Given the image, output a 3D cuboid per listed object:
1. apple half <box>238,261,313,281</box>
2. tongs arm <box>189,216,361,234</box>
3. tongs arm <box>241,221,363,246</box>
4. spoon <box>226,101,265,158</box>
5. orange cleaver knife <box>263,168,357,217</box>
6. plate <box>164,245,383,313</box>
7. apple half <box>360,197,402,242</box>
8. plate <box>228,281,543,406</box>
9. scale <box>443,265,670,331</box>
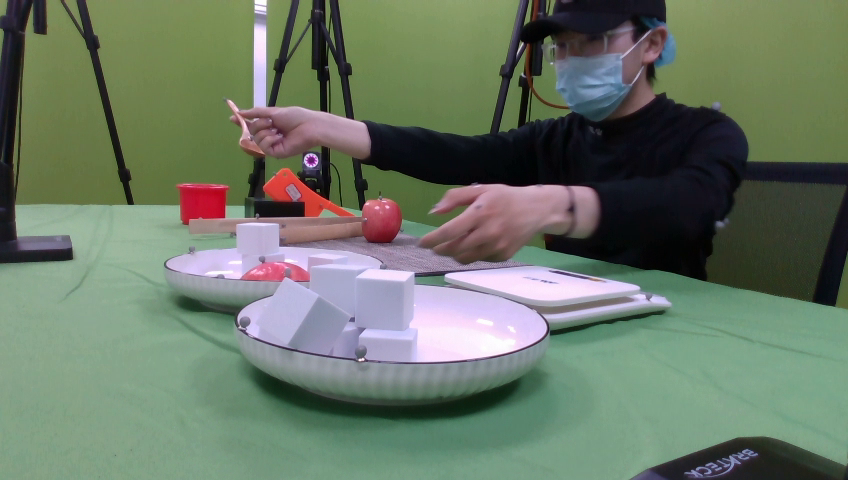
[{"bbox_3d":[-0.141,0.035,0.578,0.081,0.033,0.081,2,11,0],"label":"apple half"},{"bbox_3d":[-0.220,-0.028,1.088,0.387,0.026,0.050,-3,8,-43],"label":"tongs arm"},{"bbox_3d":[-0.159,-0.018,1.034,0.028,0.028,0.389,1,5,33],"label":"tongs arm"},{"bbox_3d":[-0.299,-0.186,1.000,0.042,0.021,0.193,15,30,-40],"label":"spoon"},{"bbox_3d":[-0.240,-0.078,1.294,0.212,0.077,0.012,32,-7,-26],"label":"orange cleaver knife"},{"bbox_3d":[-0.145,0.038,0.600,0.209,0.038,0.209,2,7,0],"label":"plate"},{"bbox_3d":[-0.065,-0.033,1.014,0.053,0.074,0.081,10,6,21],"label":"apple half"},{"bbox_3d":[-0.025,0.067,0.413,0.208,0.039,0.207,3,7,0],"label":"plate"},{"bbox_3d":[0.131,0.052,0.602,0.202,0.031,0.148,-2,9,-37],"label":"scale"}]
